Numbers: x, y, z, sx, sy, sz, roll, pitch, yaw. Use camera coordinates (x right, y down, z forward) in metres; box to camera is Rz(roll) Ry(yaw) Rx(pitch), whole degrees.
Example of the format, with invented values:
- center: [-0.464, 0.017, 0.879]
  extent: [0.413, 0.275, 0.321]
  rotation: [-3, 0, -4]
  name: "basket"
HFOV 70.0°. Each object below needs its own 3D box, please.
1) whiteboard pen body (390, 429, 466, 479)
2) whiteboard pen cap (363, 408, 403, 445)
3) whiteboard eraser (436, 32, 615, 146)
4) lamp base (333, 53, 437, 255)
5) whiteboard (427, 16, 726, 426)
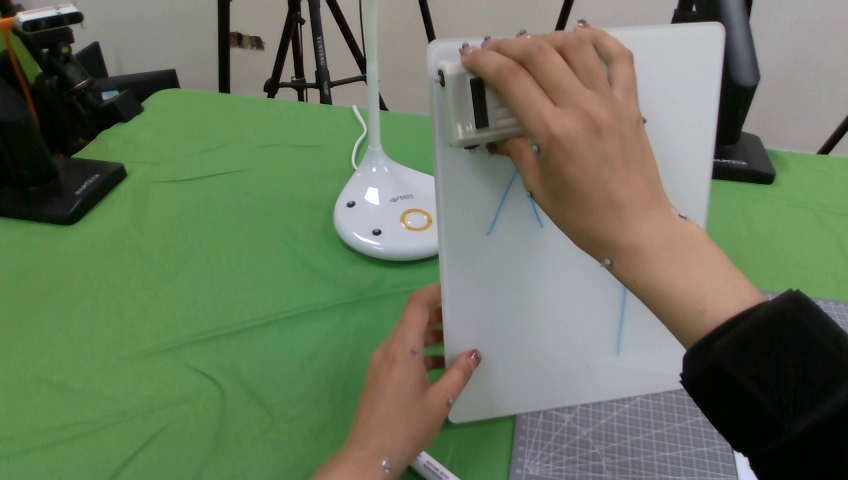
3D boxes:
- center: [0.012, 0.175, 0.459]
  extent: [0.139, 0.017, 0.017]
  rotation: [28, 47, 31]
  name: "whiteboard pen body"
- center: [-0.032, 0.151, 0.489]
  extent: [0.033, 0.018, 0.018]
  rotation: [27, 46, 33]
  name: "whiteboard pen cap"
- center: [0.067, -0.099, 0.397]
  extent: [0.113, 0.056, 0.041]
  rotation: [-12, 24, -6]
  name: "whiteboard eraser"
- center: [-0.034, -0.102, 0.671]
  extent: [0.161, 0.182, 0.177]
  rotation: [-25, 43, -28]
  name: "lamp base"
- center: [0.107, -0.024, 0.525]
  extent: [0.217, 0.307, 0.142]
  rotation: [-6, 21, -7]
  name: "whiteboard"
